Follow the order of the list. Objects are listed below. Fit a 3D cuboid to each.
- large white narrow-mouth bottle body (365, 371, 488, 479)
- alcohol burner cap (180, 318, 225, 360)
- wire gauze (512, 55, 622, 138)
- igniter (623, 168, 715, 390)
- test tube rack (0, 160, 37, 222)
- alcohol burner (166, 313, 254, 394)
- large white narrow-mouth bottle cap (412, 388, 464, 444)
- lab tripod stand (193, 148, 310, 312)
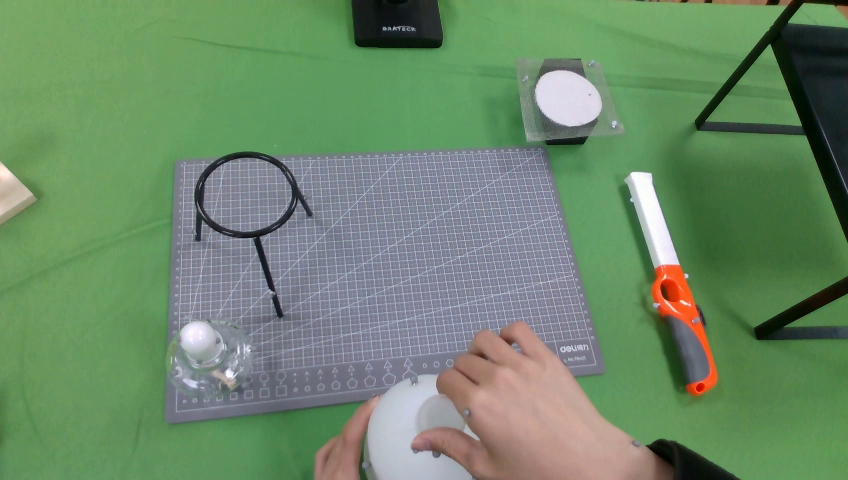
[{"bbox_3d":[0.001,0.165,0.510,0.102,0.196,0.101,3,63,-6],"label":"large white narrow-mouth bottle body"},{"bbox_3d":[-0.192,0.084,0.522,0.034,0.048,0.033,3,69,-7],"label":"alcohol burner cap"},{"bbox_3d":[0.175,-0.182,0.754,0.122,0.011,0.124,-2,65,-9],"label":"wire gauze"},{"bbox_3d":[0.283,0.037,0.708,0.057,0.025,0.274,1,64,-19],"label":"igniter"},{"bbox_3d":[-0.518,-0.009,0.577,0.066,0.085,0.242,41,65,12],"label":"test tube rack"},{"bbox_3d":[-0.198,0.099,0.554,0.078,0.120,0.077,4,62,-8],"label":"alcohol burner"},{"bbox_3d":[0.010,0.125,0.433,0.038,0.024,0.037,3,63,-6],"label":"large white narrow-mouth bottle cap"},{"bbox_3d":[-0.167,-0.015,0.603,0.149,0.132,0.147,4,64,-8],"label":"lab tripod stand"}]
